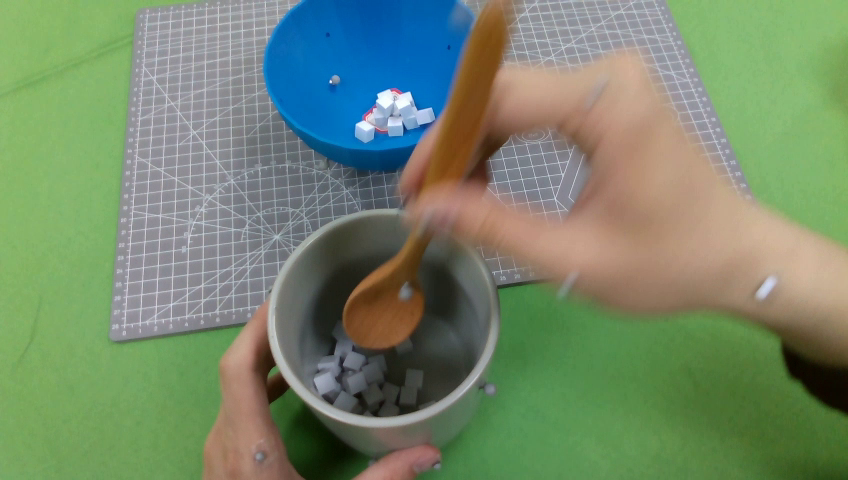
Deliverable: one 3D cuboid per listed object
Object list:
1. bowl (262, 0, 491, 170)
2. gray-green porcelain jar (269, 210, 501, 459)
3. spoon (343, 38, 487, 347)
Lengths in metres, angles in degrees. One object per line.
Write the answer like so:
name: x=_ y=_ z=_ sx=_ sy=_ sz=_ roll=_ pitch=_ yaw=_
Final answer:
bowl: x=-0.030 y=-0.103 z=0.430 sx=0.151 sy=0.077 sz=0.150 roll=0 pitch=63 yaw=1
gray-green porcelain jar: x=-0.016 y=0.059 z=0.327 sx=0.106 sy=0.127 sz=0.105 roll=0 pitch=63 yaw=1
spoon: x=-0.004 y=-0.001 z=0.246 sx=0.042 sy=0.195 sz=0.021 roll=-1 pitch=60 yaw=-15
